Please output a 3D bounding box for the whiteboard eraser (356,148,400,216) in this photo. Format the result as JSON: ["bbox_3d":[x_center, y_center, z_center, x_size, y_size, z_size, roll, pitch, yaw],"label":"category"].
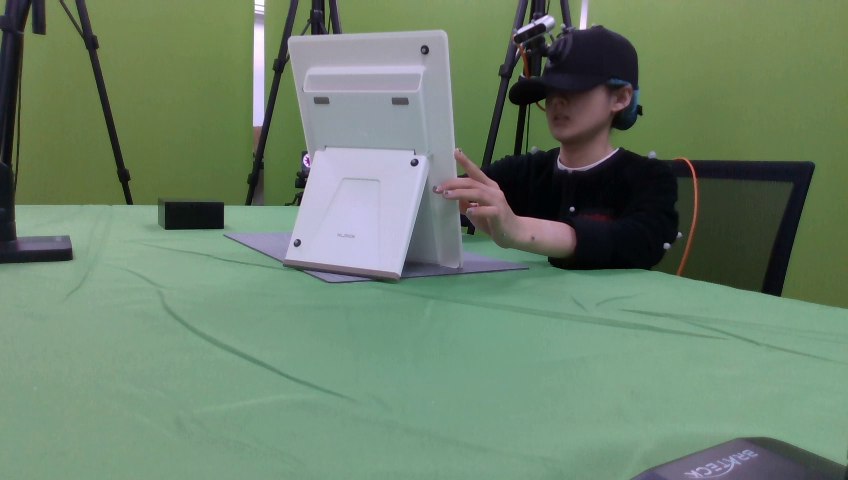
[{"bbox_3d":[-0.062,-0.077,0.811,0.041,0.101,0.019,28,35,8],"label":"whiteboard eraser"}]

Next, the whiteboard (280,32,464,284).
[{"bbox_3d":[-0.087,-0.079,0.728,0.216,0.305,0.144,7,28,24],"label":"whiteboard"}]
